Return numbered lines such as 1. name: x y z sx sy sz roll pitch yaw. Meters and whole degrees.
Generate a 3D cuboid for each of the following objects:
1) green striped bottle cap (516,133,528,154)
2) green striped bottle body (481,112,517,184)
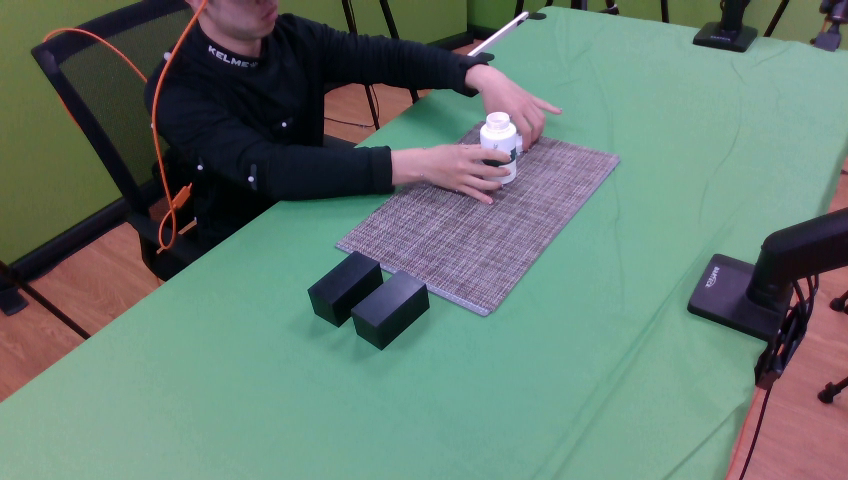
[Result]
1. green striped bottle cap: 0.176 -0.184 1.158 0.044 0.020 0.044 -7 47 8
2. green striped bottle body: 0.131 -0.162 1.057 0.063 0.120 0.063 -3 42 3
